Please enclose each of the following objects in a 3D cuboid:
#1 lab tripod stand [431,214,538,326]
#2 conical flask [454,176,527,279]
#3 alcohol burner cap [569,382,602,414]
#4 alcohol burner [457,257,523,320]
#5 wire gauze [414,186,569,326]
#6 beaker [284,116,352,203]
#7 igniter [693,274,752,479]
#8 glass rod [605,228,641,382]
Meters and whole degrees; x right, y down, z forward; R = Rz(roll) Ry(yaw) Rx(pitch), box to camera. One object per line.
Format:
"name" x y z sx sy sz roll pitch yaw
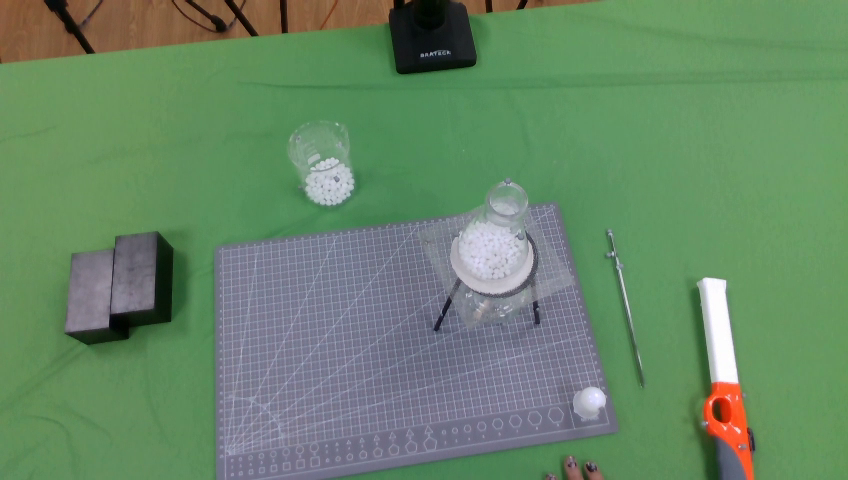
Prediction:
"lab tripod stand" 0.070 0.042 0.690 0.148 0.132 0.147 0 68 0
"conical flask" 0.069 -0.015 0.578 0.075 0.122 0.075 0 68 -1
"alcohol burner cap" 0.184 0.176 0.682 0.034 0.048 0.033 1 67 -1
"alcohol burner" 0.078 0.050 0.697 0.078 0.120 0.077 1 66 -2
"wire gauze" 0.069 0.014 0.630 0.125 0.011 0.120 -23 71 -12
"beaker" -0.129 -0.099 0.772 0.073 0.101 0.084 38 71 15
"igniter" 0.341 0.171 0.697 0.057 0.025 0.274 8 66 -8
"glass rod" 0.244 0.076 0.748 0.008 0.008 0.198 -3 66 -2
